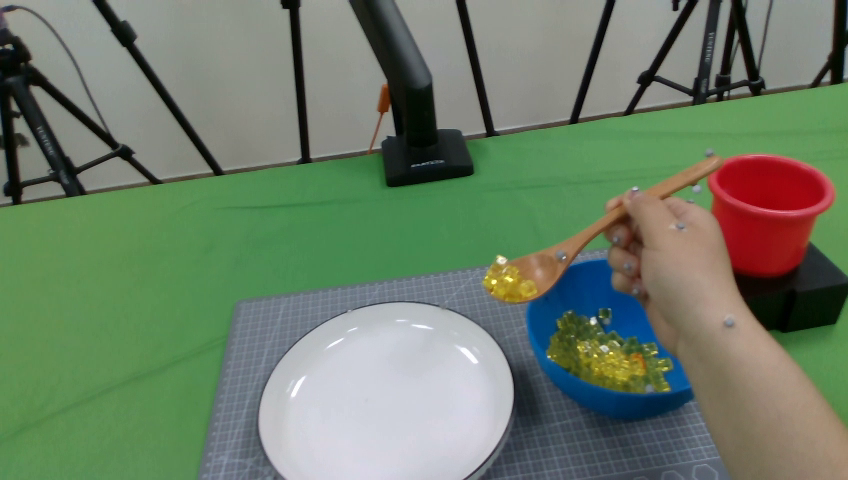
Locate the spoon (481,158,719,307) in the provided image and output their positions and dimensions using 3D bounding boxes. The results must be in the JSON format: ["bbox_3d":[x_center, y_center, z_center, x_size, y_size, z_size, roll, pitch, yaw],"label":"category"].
[{"bbox_3d":[0.126,-0.008,0.421,0.194,0.022,0.041,-32,40,-3],"label":"spoon"}]

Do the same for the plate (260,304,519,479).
[{"bbox_3d":[-0.027,0.136,0.499,0.207,0.039,0.205,-4,37,4],"label":"plate"}]

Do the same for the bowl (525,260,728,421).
[{"bbox_3d":[0.158,0.092,0.492,0.151,0.077,0.150,-4,37,4],"label":"bowl"}]
